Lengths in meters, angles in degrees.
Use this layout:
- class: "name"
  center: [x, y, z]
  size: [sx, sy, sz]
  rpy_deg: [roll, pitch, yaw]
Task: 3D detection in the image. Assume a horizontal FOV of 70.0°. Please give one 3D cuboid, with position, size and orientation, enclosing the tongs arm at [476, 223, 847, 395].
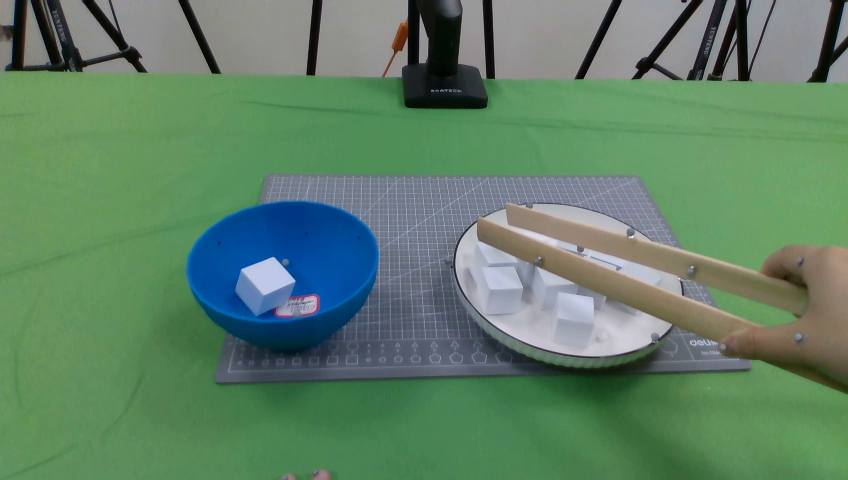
- class: "tongs arm"
  center: [0.192, 0.051, 0.414]
  size: [0.384, 0.028, 0.028]
  rpy_deg: [21, 37, 36]

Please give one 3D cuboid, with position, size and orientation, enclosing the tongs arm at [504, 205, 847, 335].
- class: "tongs arm"
  center: [0.210, 0.039, 0.430]
  size: [0.381, 0.027, 0.051]
  rpy_deg: [19, 39, 34]

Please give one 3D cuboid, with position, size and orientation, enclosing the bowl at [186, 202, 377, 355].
- class: "bowl"
  center: [-0.114, 0.043, 0.510]
  size: [0.151, 0.077, 0.150]
  rpy_deg: [3, 39, -2]

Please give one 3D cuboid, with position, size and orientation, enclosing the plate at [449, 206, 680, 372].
- class: "plate"
  center: [0.125, 0.044, 0.561]
  size: [0.208, 0.039, 0.205]
  rpy_deg: [3, 39, -2]
